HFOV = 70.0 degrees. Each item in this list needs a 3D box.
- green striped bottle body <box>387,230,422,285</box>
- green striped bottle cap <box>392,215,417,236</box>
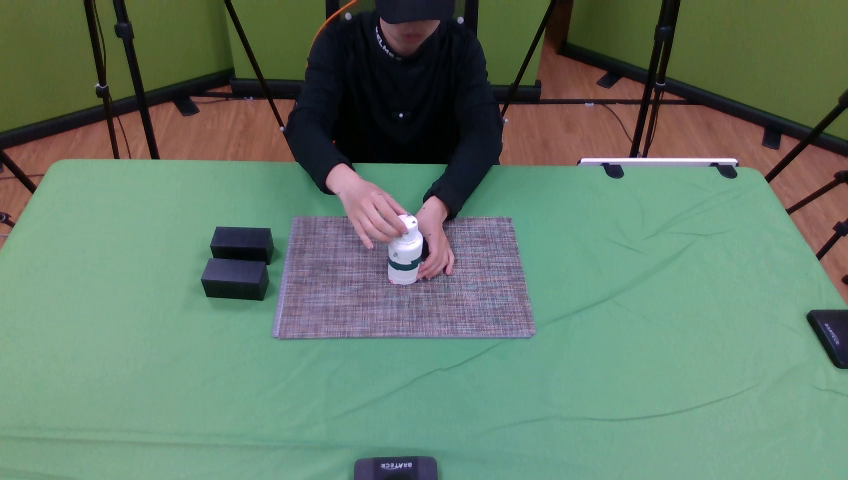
[{"bbox_3d":[-0.035,0.021,1.102,0.063,0.120,0.063,2,46,-2],"label":"green striped bottle body"},{"bbox_3d":[-0.034,-0.025,1.057,0.044,0.020,0.044,2,36,-1],"label":"green striped bottle cap"}]
